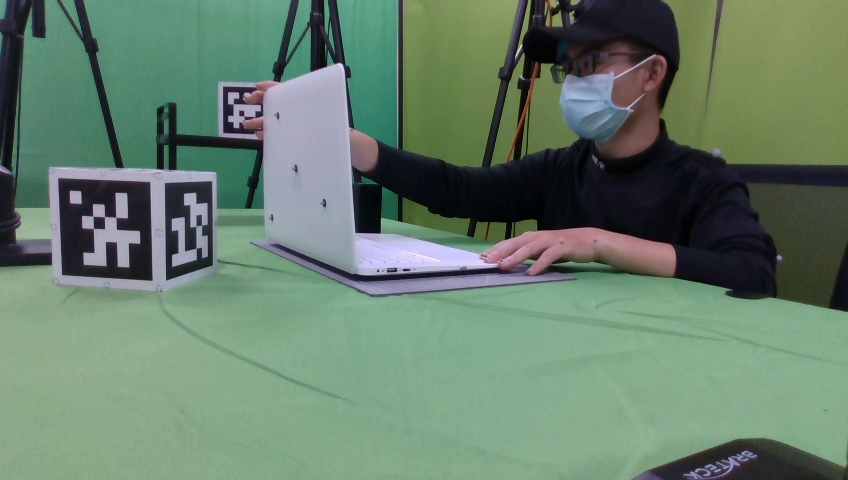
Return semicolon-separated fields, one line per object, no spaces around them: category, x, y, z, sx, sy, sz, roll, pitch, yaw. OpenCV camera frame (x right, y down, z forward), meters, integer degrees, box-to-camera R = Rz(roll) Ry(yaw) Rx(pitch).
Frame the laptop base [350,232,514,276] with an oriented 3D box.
laptop base;-0.066;0.017;0.893;0.237;0.023;0.352;2;6;-32

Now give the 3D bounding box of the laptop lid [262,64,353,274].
laptop lid;-0.168;-0.098;0.812;0.013;0.241;0.355;-3;10;-30
